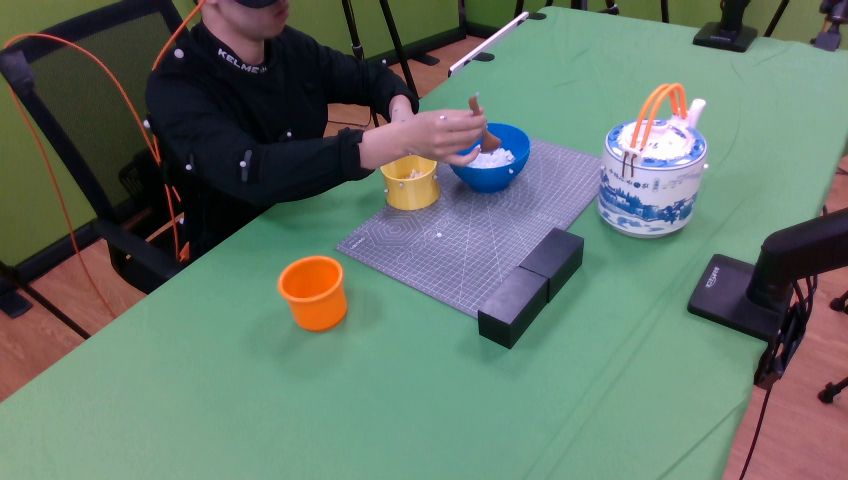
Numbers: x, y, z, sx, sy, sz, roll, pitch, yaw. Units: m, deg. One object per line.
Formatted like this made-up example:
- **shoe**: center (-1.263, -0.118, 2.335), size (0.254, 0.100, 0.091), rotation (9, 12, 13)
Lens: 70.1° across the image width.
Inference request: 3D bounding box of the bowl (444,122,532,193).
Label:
- **bowl**: center (0.113, -0.136, 1.064), size (0.151, 0.077, 0.150), rotation (-4, 41, 4)

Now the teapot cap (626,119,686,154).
- **teapot cap**: center (0.338, -0.153, 0.882), size (0.085, 0.044, 0.085), rotation (-3, 38, 3)

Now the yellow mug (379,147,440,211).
- **yellow mug**: center (-0.023, -0.117, 1.071), size (0.100, 0.064, 0.130), rotation (-1, 40, 8)

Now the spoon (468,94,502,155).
- **spoon**: center (0.090, -0.177, 0.944), size (0.041, 0.195, 0.021), rotation (-25, 65, 8)

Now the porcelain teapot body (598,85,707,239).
- **porcelain teapot body**: center (0.363, -0.137, 0.921), size (0.144, 0.226, 0.206), rotation (28, 51, 36)
